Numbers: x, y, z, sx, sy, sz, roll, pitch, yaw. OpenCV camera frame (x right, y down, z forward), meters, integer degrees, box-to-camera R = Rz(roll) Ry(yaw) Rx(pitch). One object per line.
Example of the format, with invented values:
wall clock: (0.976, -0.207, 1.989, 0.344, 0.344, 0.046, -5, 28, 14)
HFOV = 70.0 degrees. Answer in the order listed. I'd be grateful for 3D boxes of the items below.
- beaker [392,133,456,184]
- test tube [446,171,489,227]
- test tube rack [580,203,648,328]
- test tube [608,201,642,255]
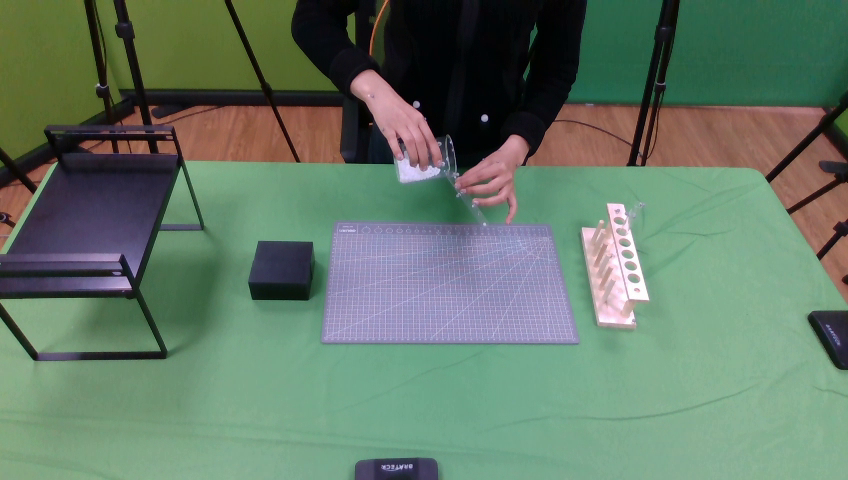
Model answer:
beaker: (-0.001, -0.137, 1.047, 0.100, 0.084, 0.073, -10, 45, -6)
test tube: (0.083, -0.073, 1.123, 0.017, 0.151, 0.017, -23, 41, 21)
test tube rack: (0.352, 0.041, 1.142, 0.067, 0.085, 0.241, 4, 46, 0)
test tube: (0.373, -0.019, 1.133, 0.017, 0.151, 0.017, 3, 52, -4)
